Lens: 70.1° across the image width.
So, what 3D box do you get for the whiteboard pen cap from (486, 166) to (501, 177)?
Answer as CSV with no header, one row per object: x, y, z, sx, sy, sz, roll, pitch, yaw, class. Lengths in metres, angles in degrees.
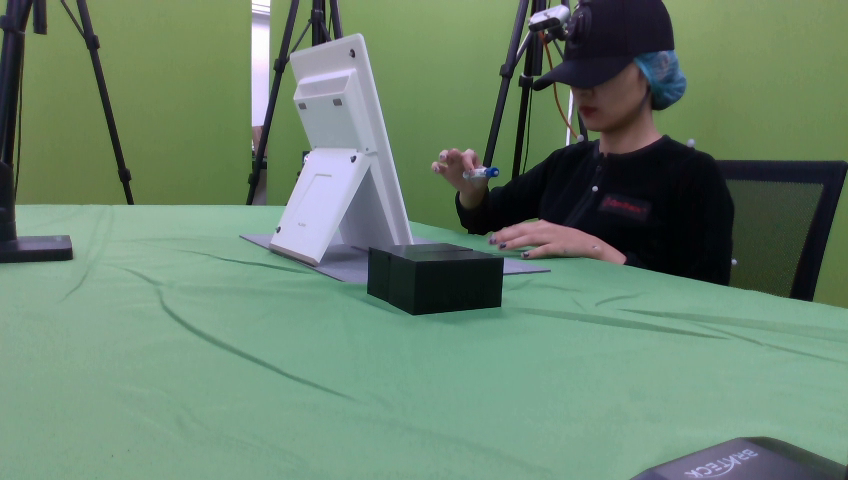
0.117,-0.115,1.022,0.018,0.018,0.033,0,4,-16,whiteboard pen cap

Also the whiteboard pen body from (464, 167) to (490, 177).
0.099,-0.121,1.078,0.017,0.017,0.140,0,5,-15,whiteboard pen body

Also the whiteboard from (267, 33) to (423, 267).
-0.153,-0.098,0.819,0.144,0.305,0.216,-25,21,-29,whiteboard
